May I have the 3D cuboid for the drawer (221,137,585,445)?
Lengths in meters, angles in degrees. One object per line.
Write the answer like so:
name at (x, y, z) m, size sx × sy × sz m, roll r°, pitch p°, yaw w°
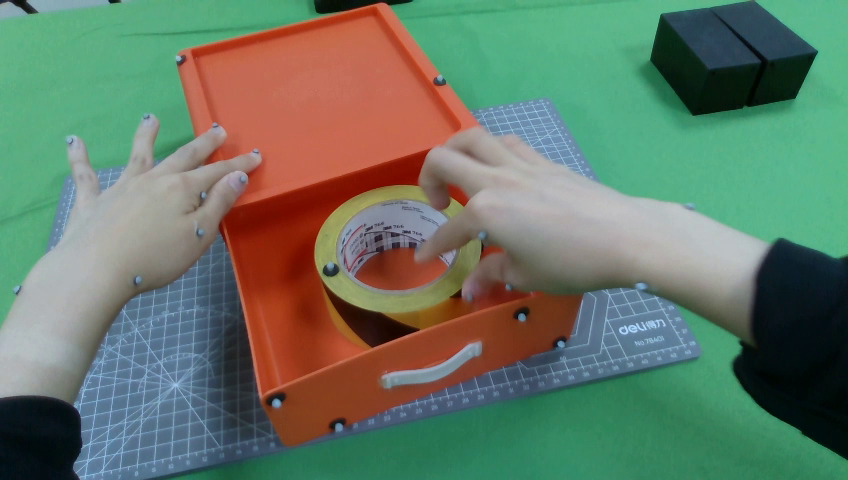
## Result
drawer at (-0.030, 0.007, 0.420) m, size 0.195 × 0.074 × 0.209 m, roll -18°, pitch 50°, yaw -12°

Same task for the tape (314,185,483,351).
tape at (-0.017, 0.019, 0.417) m, size 0.117 × 0.053 × 0.115 m, roll 0°, pitch 50°, yaw 1°

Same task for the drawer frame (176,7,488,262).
drawer frame at (-0.083, -0.092, 0.505) m, size 0.202 × 0.083 × 0.211 m, roll -20°, pitch 50°, yaw -13°
